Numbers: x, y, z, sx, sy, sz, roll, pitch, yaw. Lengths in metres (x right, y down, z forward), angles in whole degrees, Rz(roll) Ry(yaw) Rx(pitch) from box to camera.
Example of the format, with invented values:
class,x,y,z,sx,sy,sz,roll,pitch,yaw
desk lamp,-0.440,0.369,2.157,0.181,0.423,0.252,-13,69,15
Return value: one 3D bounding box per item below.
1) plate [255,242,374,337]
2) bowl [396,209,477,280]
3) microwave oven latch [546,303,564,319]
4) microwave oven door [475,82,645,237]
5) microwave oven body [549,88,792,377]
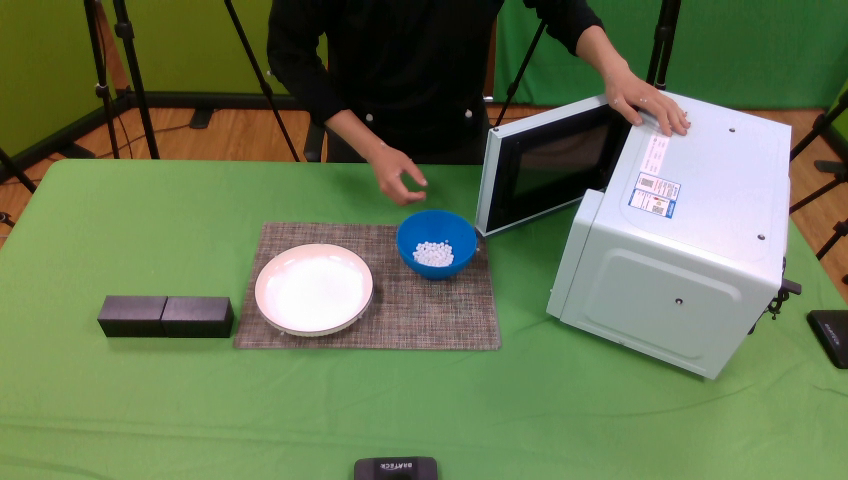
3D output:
class,x,y,z,sx,sy,sz,roll,pitch,yaw
plate,-0.192,0.090,1.079,0.208,0.039,0.206,2,46,-2
bowl,0.021,0.021,1.134,0.151,0.077,0.150,2,46,-2
microwave oven latch,0.242,0.102,1.081,0.030,0.029,0.079,21,48,17
microwave oven door,0.268,-0.159,1.193,0.356,0.245,0.039,-21,50,-22
microwave oven body,0.456,-0.028,1.088,0.325,0.261,0.440,20,47,16
